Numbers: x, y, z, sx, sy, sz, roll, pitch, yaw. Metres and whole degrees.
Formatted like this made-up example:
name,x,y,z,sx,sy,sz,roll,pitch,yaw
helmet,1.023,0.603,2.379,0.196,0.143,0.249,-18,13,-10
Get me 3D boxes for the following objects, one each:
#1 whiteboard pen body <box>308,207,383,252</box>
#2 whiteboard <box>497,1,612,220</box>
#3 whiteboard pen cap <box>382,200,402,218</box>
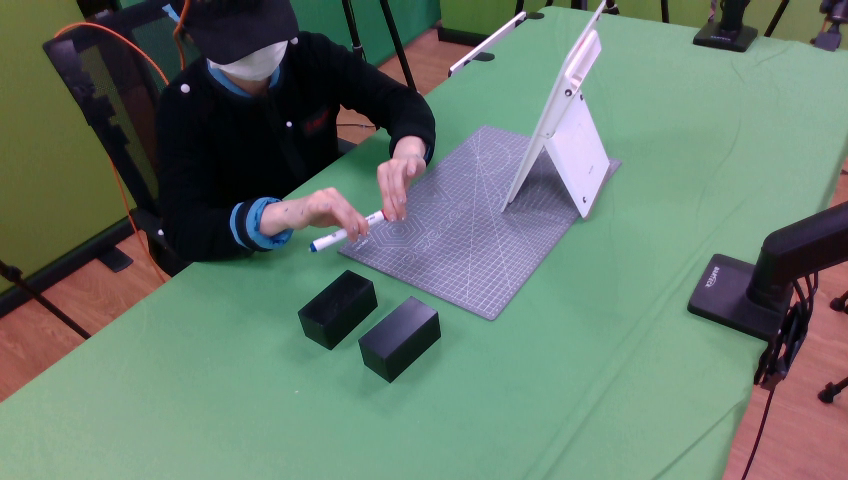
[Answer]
name,x,y,z,sx,sy,sz,roll,pitch,yaw
whiteboard pen body,-0.101,-0.021,0.867,0.141,0.017,0.016,-29,44,-15
whiteboard,0.260,-0.177,0.963,0.143,0.306,0.217,28,49,9
whiteboard pen cap,-0.050,-0.045,0.883,0.032,0.017,0.017,-27,44,-16
